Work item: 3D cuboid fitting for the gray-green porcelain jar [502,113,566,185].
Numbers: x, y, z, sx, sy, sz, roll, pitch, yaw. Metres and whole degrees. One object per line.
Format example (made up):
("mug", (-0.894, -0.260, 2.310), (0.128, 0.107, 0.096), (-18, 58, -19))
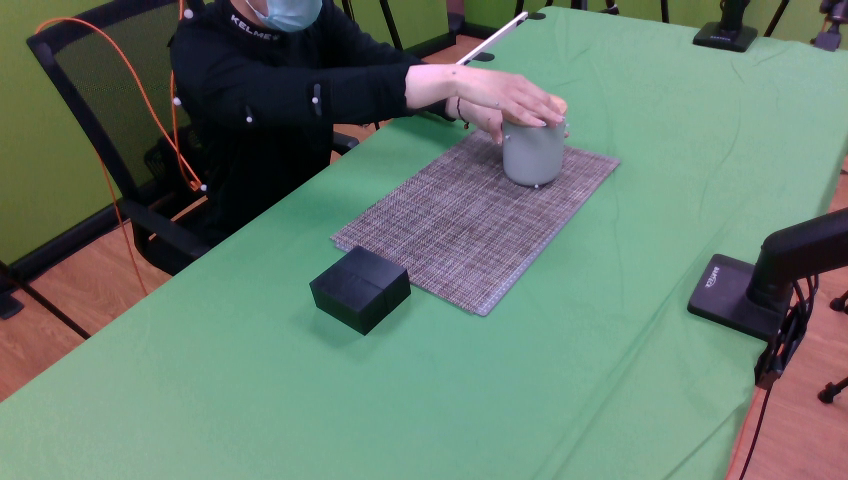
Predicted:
("gray-green porcelain jar", (0.189, -0.168, 1.051), (0.106, 0.127, 0.105), (-4, 41, 4))

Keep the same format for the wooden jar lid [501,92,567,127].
("wooden jar lid", (0.183, -0.215, 1.009), (0.108, 0.021, 0.108), (-5, 39, 4))
